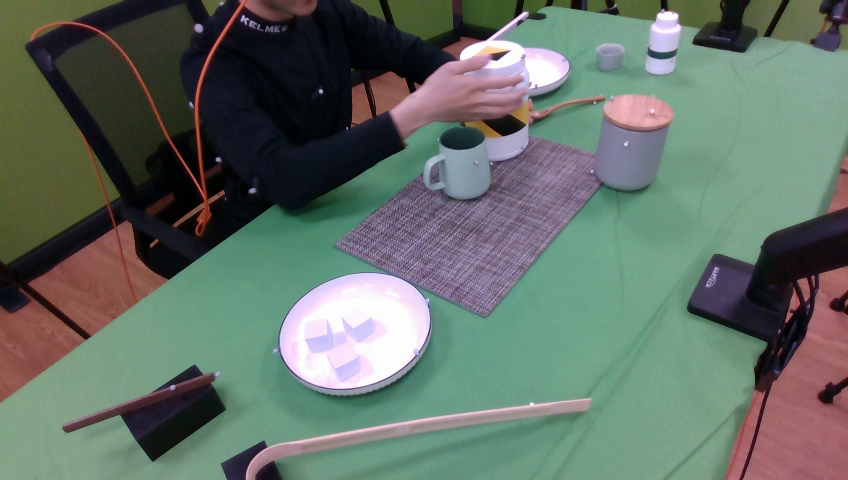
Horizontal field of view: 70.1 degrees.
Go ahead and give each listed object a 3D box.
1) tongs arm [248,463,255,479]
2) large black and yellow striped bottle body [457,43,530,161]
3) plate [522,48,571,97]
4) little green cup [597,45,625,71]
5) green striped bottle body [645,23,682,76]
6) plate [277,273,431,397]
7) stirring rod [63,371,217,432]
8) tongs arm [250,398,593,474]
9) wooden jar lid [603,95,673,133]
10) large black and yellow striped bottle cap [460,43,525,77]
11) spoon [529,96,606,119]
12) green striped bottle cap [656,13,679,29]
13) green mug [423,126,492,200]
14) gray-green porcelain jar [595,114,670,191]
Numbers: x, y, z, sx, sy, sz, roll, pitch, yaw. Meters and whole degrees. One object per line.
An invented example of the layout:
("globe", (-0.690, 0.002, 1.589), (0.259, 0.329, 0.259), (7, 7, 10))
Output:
("tongs arm", (0.012, 0.262, 0.614), (0.385, 0.026, 0.050), (3, 42, -2))
("large black and yellow striped bottle body", (0.129, -0.254, 1.116), (0.131, 0.185, 0.130), (-4, 40, 4))
("plate", (0.223, -0.371, 1.357), (0.209, 0.038, 0.208), (-4, 41, 4))
("little green cup", (0.423, -0.413, 1.375), (0.061, 0.039, 0.061), (-3, 41, 3))
("green striped bottle body", (0.520, -0.424, 1.312), (0.063, 0.120, 0.063), (-4, 41, 4))
("plate", (-0.091, 0.129, 0.821), (0.207, 0.039, 0.206), (-4, 40, 4))
("stirring rod", (-0.337, 0.192, 0.723), (0.177, 0.014, 0.005), (-18, 42, -12))
("tongs arm", (0.008, 0.212, 0.674), (0.389, 0.028, 0.028), (-5, 46, -11))
("wooden jar lid", (0.343, -0.200, 0.974), (0.108, 0.021, 0.108), (-2, 39, 2))
("large black and yellow striped bottle cap", (0.120, -0.318, 1.062), (0.115, 0.019, 0.114), (-3, 39, 3))
("spoon", (0.291, -0.277, 1.249), (0.194, 0.022, 0.041), (-17, 27, -11))
("green striped bottle cap", (0.515, -0.463, 1.278), (0.044, 0.020, 0.044), (-6, 42, 6))
("green mug", (0.055, -0.125, 1.039), (0.126, 0.105, 0.091), (-25, 44, -20))
("gray-green porcelain jar", (0.346, -0.154, 1.017), (0.106, 0.127, 0.105), (-2, 44, 2))
